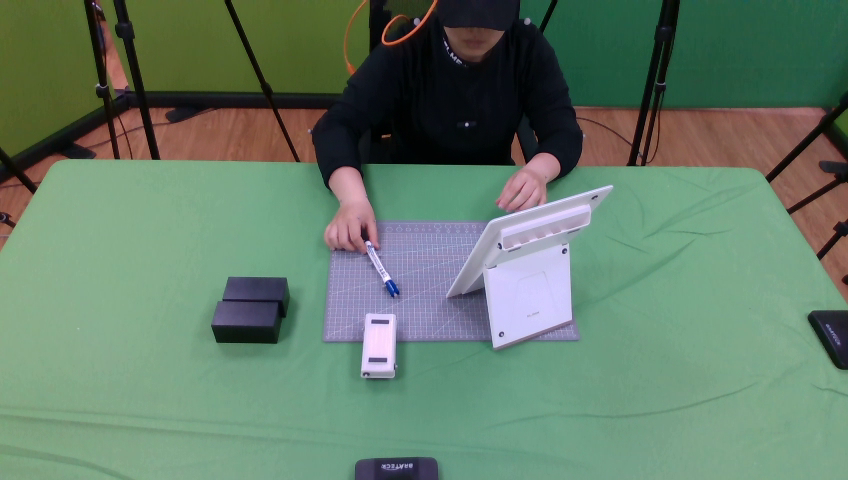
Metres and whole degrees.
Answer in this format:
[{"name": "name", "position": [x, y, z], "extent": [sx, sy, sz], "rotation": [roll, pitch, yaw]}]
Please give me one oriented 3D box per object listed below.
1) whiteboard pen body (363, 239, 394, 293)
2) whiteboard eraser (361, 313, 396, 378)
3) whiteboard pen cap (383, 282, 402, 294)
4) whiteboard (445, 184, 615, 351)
[{"name": "whiteboard pen body", "position": [-0.085, 0.049, 1.143], "extent": [0.017, 0.017, 0.140], "rotation": [-17, 50, -19]}, {"name": "whiteboard eraser", "position": [-0.075, 0.176, 1.006], "extent": [0.055, 0.042, 0.112], "rotation": [3, 50, -4]}, {"name": "whiteboard pen cap", "position": [-0.056, 0.088, 1.104], "extent": [0.033, 0.018, 0.018], "rotation": [14, 47, 13]}, {"name": "whiteboard", "position": [0.187, 0.065, 0.989], "extent": [0.217, 0.306, 0.143], "rotation": [-15, 68, -18]}]
